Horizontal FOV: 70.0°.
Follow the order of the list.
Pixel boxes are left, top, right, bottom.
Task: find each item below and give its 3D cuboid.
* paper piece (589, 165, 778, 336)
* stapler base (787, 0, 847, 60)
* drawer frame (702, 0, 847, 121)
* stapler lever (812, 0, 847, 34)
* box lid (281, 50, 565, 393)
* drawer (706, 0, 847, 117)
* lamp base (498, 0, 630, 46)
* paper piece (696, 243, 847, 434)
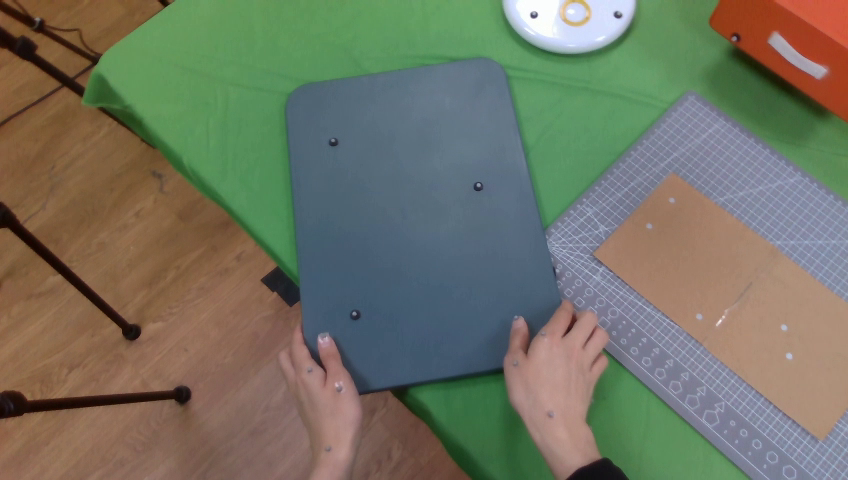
[{"bbox_3d":[0.266,0.006,0.624,0.135,0.009,0.138,42,78,19],"label":"paper piece"},{"bbox_3d":[0.424,-0.254,0.650,0.041,0.024,0.129,-19,66,13],"label":"stapler base"},{"bbox_3d":[0.445,-0.262,0.633,0.213,0.083,0.200,-43,73,-13],"label":"drawer frame"},{"bbox_3d":[0.413,-0.264,0.627,0.027,0.040,0.117,-19,65,13],"label":"stapler lever"},{"bbox_3d":[-0.014,-0.035,0.651,0.263,0.015,0.368,-10,69,0],"label":"box lid"},{"bbox_3d":[0.444,-0.259,0.632,0.211,0.074,0.193,-42,73,-13],"label":"drawer"},{"bbox_3d":[0.162,-0.341,0.667,0.161,0.181,0.177,-11,66,-2],"label":"lamp base"},{"bbox_3d":[0.360,0.090,0.588,0.135,0.004,0.134,-44,74,-13],"label":"paper piece"}]
